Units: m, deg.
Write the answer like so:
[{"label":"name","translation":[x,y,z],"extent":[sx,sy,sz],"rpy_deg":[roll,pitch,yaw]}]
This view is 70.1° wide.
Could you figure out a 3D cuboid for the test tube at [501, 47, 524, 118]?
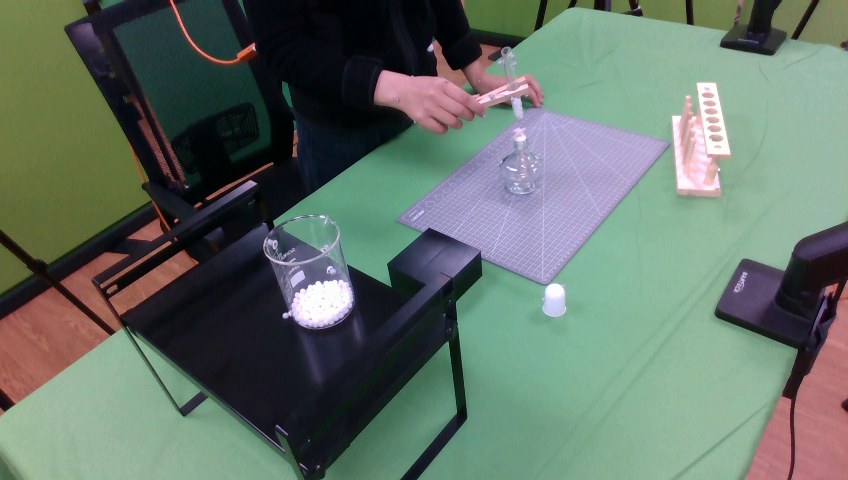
[{"label":"test tube","translation":[0.137,-0.235,0.919],"extent":[0.017,0.151,0.017],"rpy_deg":[-7,61,14]}]

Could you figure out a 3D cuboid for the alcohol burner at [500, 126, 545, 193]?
[{"label":"alcohol burner","translation":[0.168,-0.141,1.039],"extent":[0.078,0.119,0.077],"rpy_deg":[-6,41,5]}]

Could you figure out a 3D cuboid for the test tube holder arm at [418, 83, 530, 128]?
[{"label":"test tube holder arm","translation":[0.076,-0.208,0.936],"extent":[0.178,0.015,0.013],"rpy_deg":[-17,57,11]}]

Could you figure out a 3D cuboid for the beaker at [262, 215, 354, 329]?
[{"label":"beaker","translation":[-0.112,0.034,0.616],"extent":[0.073,0.101,0.084],"rpy_deg":[13,44,22]}]

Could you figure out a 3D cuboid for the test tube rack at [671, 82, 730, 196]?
[{"label":"test tube rack","translation":[0.482,-0.184,1.067],"extent":[0.066,0.085,0.242],"rpy_deg":[6,42,15]}]

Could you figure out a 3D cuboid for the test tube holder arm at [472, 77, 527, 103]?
[{"label":"test tube holder arm","translation":[0.117,-0.227,0.931],"extent":[0.088,0.015,0.010],"rpy_deg":[-23,57,8]}]

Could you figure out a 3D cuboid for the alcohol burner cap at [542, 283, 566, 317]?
[{"label":"alcohol burner cap","translation":[0.181,0.081,0.839],"extent":[0.034,0.048,0.033],"rpy_deg":[-4,40,3]}]
